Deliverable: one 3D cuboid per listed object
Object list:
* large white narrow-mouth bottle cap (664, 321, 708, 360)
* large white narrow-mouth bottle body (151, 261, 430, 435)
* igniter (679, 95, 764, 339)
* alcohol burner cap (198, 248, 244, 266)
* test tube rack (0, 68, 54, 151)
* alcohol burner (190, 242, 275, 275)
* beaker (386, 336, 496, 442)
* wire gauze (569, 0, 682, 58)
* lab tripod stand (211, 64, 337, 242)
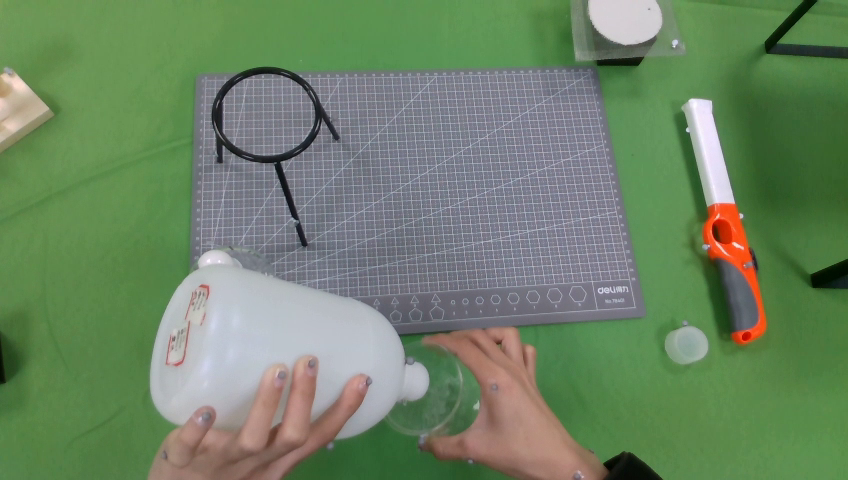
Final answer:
[{"bbox_3d":[0.262,0.101,0.607,0.038,0.024,0.037,1,71,-4],"label":"large white narrow-mouth bottle cap"},{"bbox_3d":[-0.077,0.085,0.427,0.196,0.101,0.101,21,66,-37],"label":"large white narrow-mouth bottle body"},{"bbox_3d":[0.318,-0.031,0.651,0.057,0.025,0.274,1,72,-16],"label":"igniter"},{"bbox_3d":[-0.169,0.023,0.499,0.034,0.048,0.033,1,77,-5],"label":"alcohol burner cap"},{"bbox_3d":[-0.487,-0.087,0.560,0.066,0.085,0.242,44,73,9],"label":"test tube rack"},{"bbox_3d":[-0.172,0.033,0.533,0.078,0.119,0.077,2,70,-6],"label":"alcohol burner"},{"bbox_3d":[0.013,0.132,0.518,0.083,0.101,0.073,1,67,26],"label":"beaker"},{"bbox_3d":[0.219,-0.258,0.675,0.121,0.011,0.124,-1,73,-6],"label":"wire gauze"},{"bbox_3d":[-0.135,-0.085,0.566,0.149,0.132,0.147,2,72,-7],"label":"lab tripod stand"}]
